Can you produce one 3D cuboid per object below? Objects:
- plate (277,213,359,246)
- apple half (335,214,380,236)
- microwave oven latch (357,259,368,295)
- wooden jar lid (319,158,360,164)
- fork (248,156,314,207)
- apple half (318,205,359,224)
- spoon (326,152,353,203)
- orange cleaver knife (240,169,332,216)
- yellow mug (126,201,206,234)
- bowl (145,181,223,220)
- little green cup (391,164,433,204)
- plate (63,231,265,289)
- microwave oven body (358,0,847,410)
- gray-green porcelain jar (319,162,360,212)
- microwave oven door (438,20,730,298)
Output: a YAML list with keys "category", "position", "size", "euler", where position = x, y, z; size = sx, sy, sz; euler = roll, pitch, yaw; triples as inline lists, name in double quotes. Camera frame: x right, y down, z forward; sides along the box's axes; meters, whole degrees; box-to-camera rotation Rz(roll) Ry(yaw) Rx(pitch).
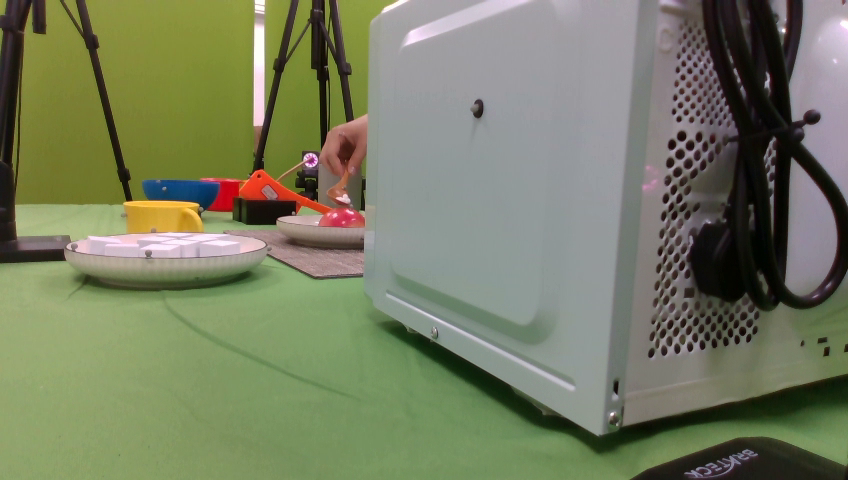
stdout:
- category: "plate"
  position: [-0.135, -0.018, 0.993]
  size: [0.209, 0.038, 0.209]
  euler: [2, 7, 0]
- category: "apple half"
  position: [-0.112, -0.028, 1.034]
  size: [0.081, 0.033, 0.081]
  euler: [0, 10, 0]
- category: "microwave oven latch"
  position: [-0.019, 0.031, 0.529]
  size: [0.079, 0.029, 0.030]
  euler: [-1, 7, -26]
- category: "wooden jar lid"
  position: [-0.203, -0.189, 1.482]
  size: [0.108, 0.020, 0.108]
  euler: [2, 10, 0]
- category: "fork"
  position: [-0.360, -0.147, 1.523]
  size: [0.207, 0.019, 0.028]
  euler: [-43, 16, -7]
- category: "apple half"
  position: [-0.126, -0.028, 0.954]
  size: [0.081, 0.053, 0.074]
  euler: [-2, 11, -33]
- category: "spoon"
  position: [-0.134, -0.110, 1.024]
  size: [0.042, 0.021, 0.193]
  euler: [27, 30, -14]
- category: "orange cleaver knife"
  position: [-0.286, -0.082, 1.298]
  size: [0.212, 0.077, 0.012]
  euler: [25, -2, -31]
- category: "yellow mug"
  position: [-0.360, -0.019, 0.866]
  size: [0.130, 0.064, 0.100]
  euler: [6, 9, 27]
- category: "bowl"
  position: [-0.499, -0.081, 1.261]
  size: [0.151, 0.077, 0.151]
  euler: [2, 7, 0]
- category: "little green cup"
  position: [-0.017, -0.088, 0.963]
  size: [0.061, 0.038, 0.061]
  euler: [-35, -12, -8]
- category: "plate"
  position: [-0.288, 0.021, 0.687]
  size: [0.208, 0.039, 0.207]
  euler: [2, 8, 0]
- category: "microwave oven body"
  position: [0.210, -0.051, 0.471]
  size: [0.444, 0.260, 0.324]
  euler: [-1, 7, -28]
- category: "gray-green porcelain jar"
  position: [-0.204, -0.126, 1.490]
  size: [0.106, 0.126, 0.106]
  euler: [2, 7, 0]
- category: "microwave oven door"
  position: [0.181, -0.076, 0.618]
  size: [0.358, 0.243, 0.039]
  euler: [-2, 8, -28]
